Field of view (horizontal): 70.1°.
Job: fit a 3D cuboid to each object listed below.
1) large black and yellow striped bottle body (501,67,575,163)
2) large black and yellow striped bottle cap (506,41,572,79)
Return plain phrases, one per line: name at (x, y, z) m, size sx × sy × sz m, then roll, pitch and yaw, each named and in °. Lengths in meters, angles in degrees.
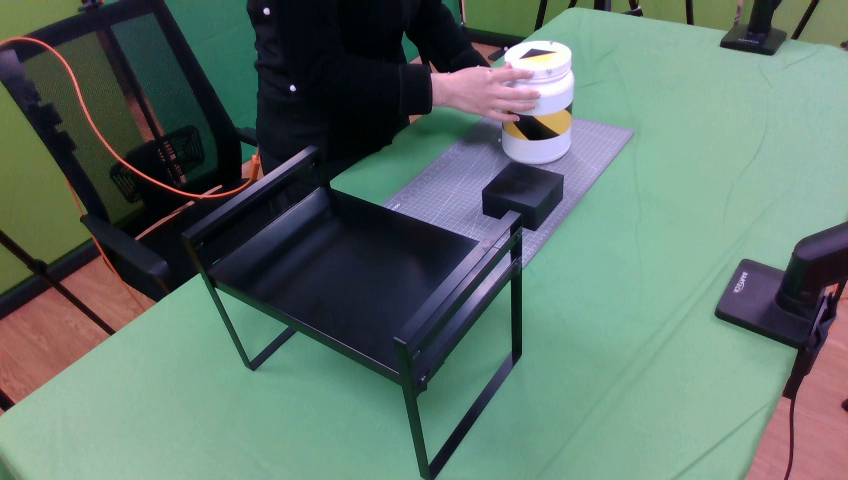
large black and yellow striped bottle body at (0.208, -0.249, 1.107) m, size 0.131 × 0.185 × 0.130 m, roll -5°, pitch 41°, yaw 5°
large black and yellow striped bottle cap at (0.199, -0.315, 1.051) m, size 0.115 × 0.019 × 0.114 m, roll -4°, pitch 42°, yaw 4°
